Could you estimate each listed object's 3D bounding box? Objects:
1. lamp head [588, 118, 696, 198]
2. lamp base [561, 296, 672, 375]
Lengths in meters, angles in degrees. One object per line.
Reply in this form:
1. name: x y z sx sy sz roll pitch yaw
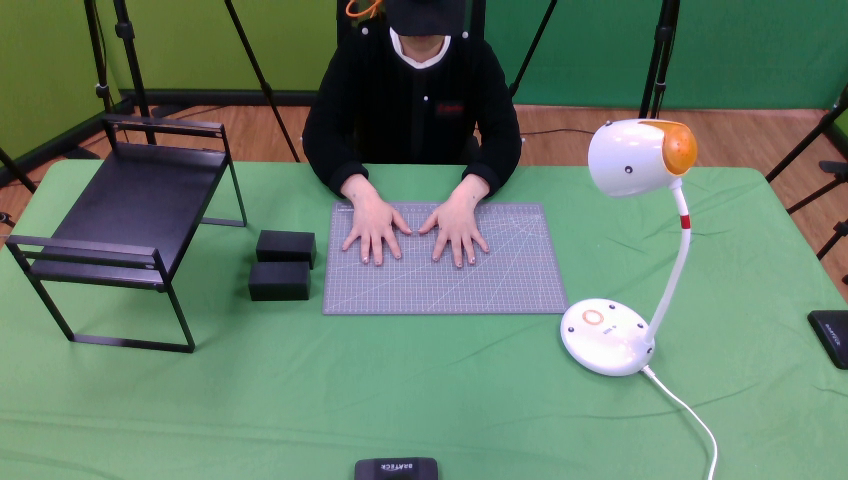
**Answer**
1. lamp head: 0.304 -0.113 0.823 0.112 0.112 0.122 -26 16 -25
2. lamp base: 0.332 0.119 0.996 0.160 0.181 0.178 -34 59 -31
